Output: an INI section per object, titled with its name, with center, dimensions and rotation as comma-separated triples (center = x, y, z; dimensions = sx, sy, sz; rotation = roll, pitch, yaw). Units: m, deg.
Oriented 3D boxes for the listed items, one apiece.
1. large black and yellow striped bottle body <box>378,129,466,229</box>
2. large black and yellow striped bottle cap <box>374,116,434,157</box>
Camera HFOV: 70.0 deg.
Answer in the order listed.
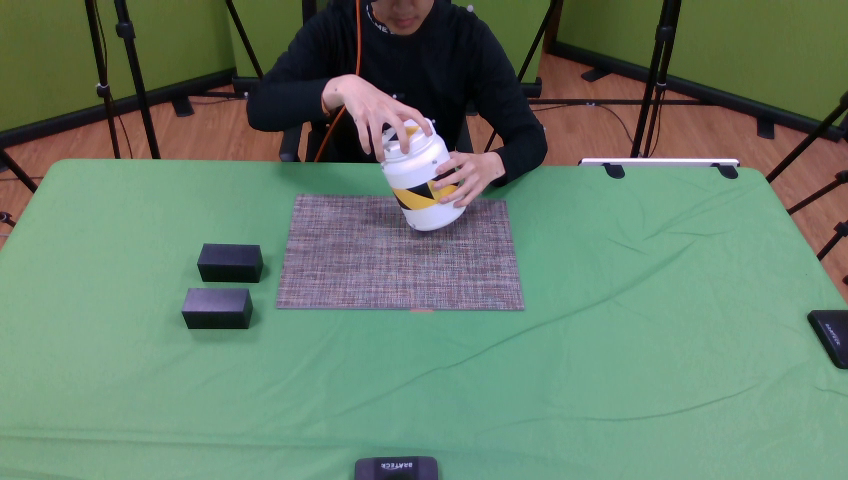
[large black and yellow striped bottle body]
center = -0.006, -0.128, 1.168
dimensions = 0.131, 0.185, 0.130
rotation = -18, 33, 12
[large black and yellow striped bottle cap]
center = -0.037, -0.193, 1.122
dimensions = 0.115, 0.019, 0.114
rotation = -16, 34, 12
